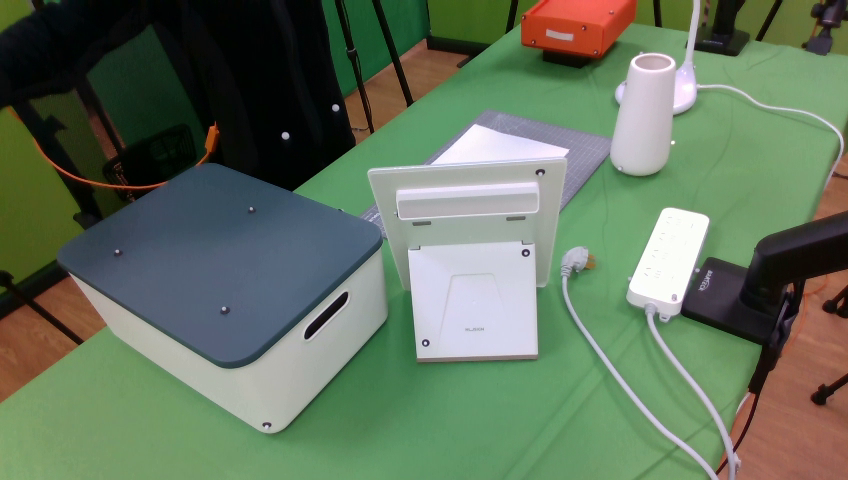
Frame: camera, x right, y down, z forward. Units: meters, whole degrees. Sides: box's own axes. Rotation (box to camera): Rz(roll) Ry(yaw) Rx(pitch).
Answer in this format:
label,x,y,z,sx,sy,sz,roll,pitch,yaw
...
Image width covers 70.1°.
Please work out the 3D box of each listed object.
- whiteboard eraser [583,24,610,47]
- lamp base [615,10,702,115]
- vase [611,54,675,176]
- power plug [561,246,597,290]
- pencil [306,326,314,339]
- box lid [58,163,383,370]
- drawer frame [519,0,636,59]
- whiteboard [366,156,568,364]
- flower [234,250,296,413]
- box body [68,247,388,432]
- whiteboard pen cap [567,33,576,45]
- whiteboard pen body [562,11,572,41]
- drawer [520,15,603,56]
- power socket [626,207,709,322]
label,x,y,z,sx,sy,sz,roll,pitch,yaw
whiteboard eraser,0.407,-0.479,1.423,0.055,0.042,0.113,-2,9,21
lamp base,0.484,-0.363,1.211,0.180,0.181,0.159,-15,41,-14
vase,0.377,-0.209,1.031,0.098,0.201,0.097,-4,40,3
power plug,0.228,0.044,0.897,0.053,0.035,0.072,15,82,-9
pencil,-0.187,0.106,0.880,0.012,0.012,0.192,-27,41,-22
box lid,-0.262,0.010,0.777,0.369,0.015,0.264,21,47,29
drawer frame,0.362,-0.518,1.423,0.200,0.083,0.214,19,48,29
whiteboard,0.059,0.050,0.738,0.217,0.307,0.143,-2,60,6
flower,-0.244,0.110,0.870,0.044,0.038,0.358,11,25,-32
box body,-0.256,0.065,0.826,0.361,0.161,0.255,20,48,29
whiteboard pen cap,0.339,-0.463,1.390,0.018,0.018,0.033,-2,44,5
whiteboard pen body,0.339,-0.505,1.431,0.017,0.017,0.140,0,44,8
drawer,0.359,-0.517,1.416,0.193,0.073,0.212,20,47,29
power socket,0.360,0.026,0.886,0.072,0.033,0.227,17,46,26
